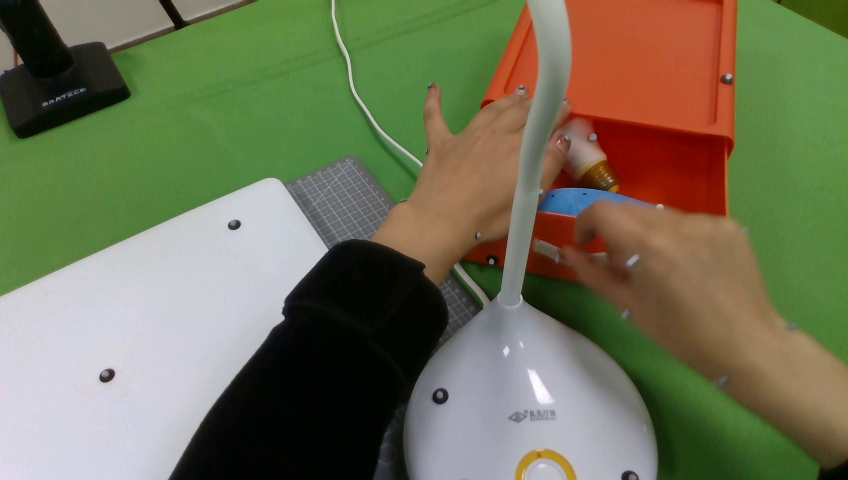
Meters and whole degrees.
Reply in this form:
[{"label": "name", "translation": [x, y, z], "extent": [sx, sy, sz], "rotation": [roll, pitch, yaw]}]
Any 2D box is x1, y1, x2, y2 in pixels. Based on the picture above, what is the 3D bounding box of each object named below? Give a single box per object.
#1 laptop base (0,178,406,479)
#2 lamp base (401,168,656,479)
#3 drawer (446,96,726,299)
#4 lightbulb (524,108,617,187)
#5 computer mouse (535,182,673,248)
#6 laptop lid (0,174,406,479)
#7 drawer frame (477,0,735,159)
[{"label": "laptop base", "translation": [-0.218, 0.100, 0.433], "extent": [0.354, 0.023, 0.233], "rotation": [-28, 58, -18]}, {"label": "lamp base", "translation": [0.059, 0.063, 0.337], "extent": [0.161, 0.182, 0.177], "rotation": [-13, 49, -8]}, {"label": "drawer", "translation": [0.139, -0.068, 0.503], "extent": [0.194, 0.074, 0.210], "rotation": [10, 53, 14]}, {"label": "lightbulb", "translation": [0.127, -0.075, 0.518], "extent": [0.059, 0.060, 0.106], "rotation": [-20, 37, -11]}, {"label": "computer mouse", "translation": [0.137, -0.012, 0.475], "extent": [0.117, 0.041, 0.062], "rotation": [8, 49, 5]}, {"label": "laptop lid", "translation": [-0.218, 0.094, 0.422], "extent": [0.357, 0.013, 0.239], "rotation": [-27, 57, -16]}, {"label": "drawer frame", "translation": [0.173, -0.153, 0.565], "extent": [0.201, 0.083, 0.212], "rotation": [12, 53, 14]}]
